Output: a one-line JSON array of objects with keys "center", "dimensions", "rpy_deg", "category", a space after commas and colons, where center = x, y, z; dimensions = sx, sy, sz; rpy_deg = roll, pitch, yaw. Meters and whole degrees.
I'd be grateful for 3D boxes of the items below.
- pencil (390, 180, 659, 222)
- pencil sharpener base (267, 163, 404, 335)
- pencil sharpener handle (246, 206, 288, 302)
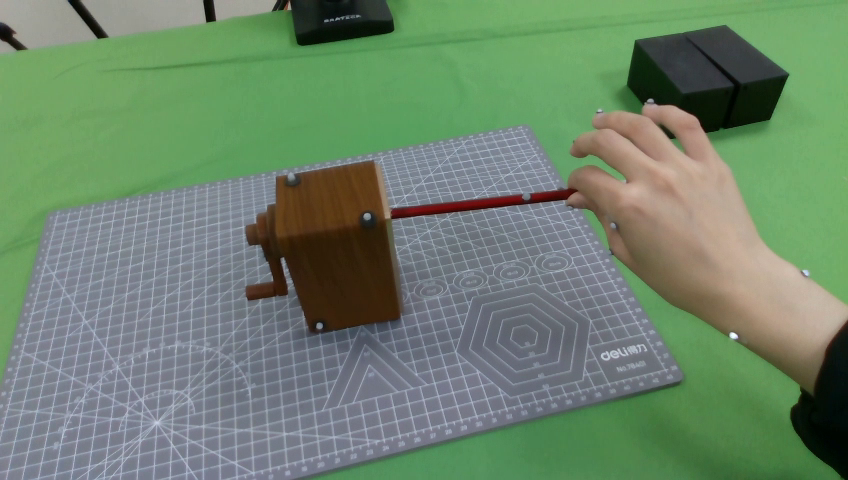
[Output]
[{"center": [0.056, -0.024, 0.398], "dimensions": [0.194, 0.012, 0.012], "rpy_deg": [-6, 46, 2], "category": "pencil"}, {"center": [-0.059, 0.009, 0.418], "dimensions": [0.077, 0.108, 0.060], "rpy_deg": [-10, 47, -5], "category": "pencil sharpener base"}, {"center": [-0.109, 0.012, 0.401], "dimensions": [0.031, 0.068, 0.035], "rpy_deg": [-10, 30, -5], "category": "pencil sharpener handle"}]
